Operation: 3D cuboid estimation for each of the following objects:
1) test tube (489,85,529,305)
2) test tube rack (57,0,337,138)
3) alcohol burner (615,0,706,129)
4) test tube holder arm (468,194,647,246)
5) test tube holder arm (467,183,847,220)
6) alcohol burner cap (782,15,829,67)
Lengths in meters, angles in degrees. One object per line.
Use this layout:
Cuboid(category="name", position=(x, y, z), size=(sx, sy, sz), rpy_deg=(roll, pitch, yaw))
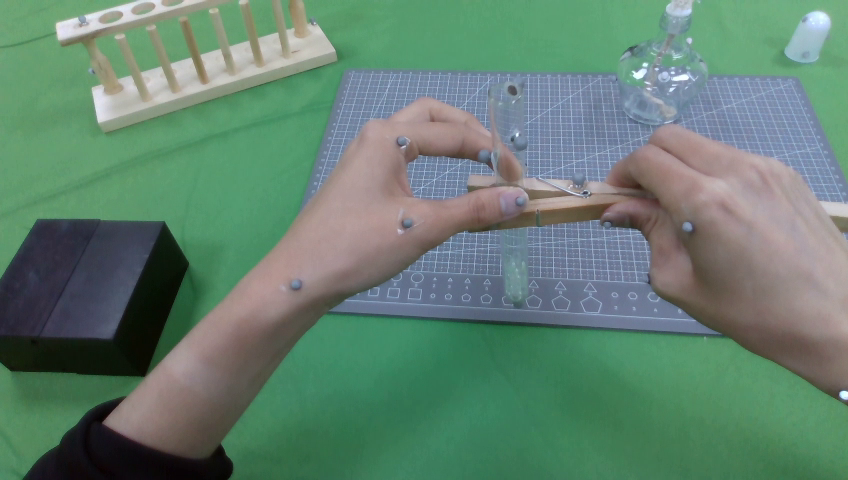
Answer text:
Cuboid(category="test tube", position=(0.045, -0.013, 0.314), size=(0.017, 0.152, 0.017), rpy_deg=(-5, 48, 6))
Cuboid(category="test tube rack", position=(-0.218, -0.192, 0.607), size=(0.242, 0.086, 0.066), rpy_deg=(-22, 52, -14))
Cuboid(category="alcohol burner", position=(0.209, -0.158, 0.528), size=(0.078, 0.120, 0.077), rpy_deg=(-1, 48, 2))
Cuboid(category="test tube holder arm", position=(0.066, -0.012, 0.304), size=(0.088, 0.015, 0.010), rpy_deg=(-12, 62, 6))
Cuboid(category="test tube holder arm", position=(0.110, -0.020, 0.299), size=(0.178, 0.015, 0.013), rpy_deg=(1, 66, 12))
Cuboid(category="alcohol burner cap", position=(0.382, -0.199, 0.601), size=(0.034, 0.048, 0.033), rpy_deg=(-3, 50, 3))
